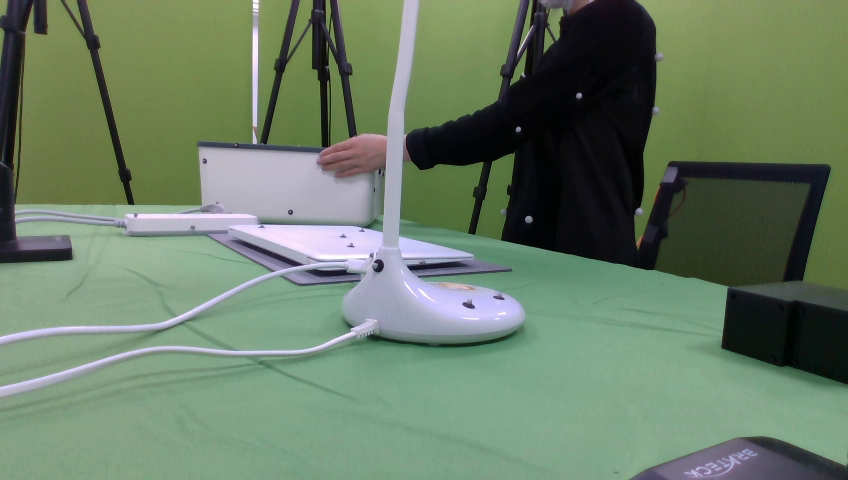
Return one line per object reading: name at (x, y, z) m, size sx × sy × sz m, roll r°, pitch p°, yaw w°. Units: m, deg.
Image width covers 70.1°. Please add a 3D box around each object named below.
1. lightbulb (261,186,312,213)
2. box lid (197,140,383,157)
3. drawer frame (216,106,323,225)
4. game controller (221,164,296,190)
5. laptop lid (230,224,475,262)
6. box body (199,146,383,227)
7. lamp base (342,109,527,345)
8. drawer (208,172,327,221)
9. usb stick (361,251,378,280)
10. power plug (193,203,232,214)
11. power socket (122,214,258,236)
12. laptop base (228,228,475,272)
lightbulb at (-0.294, -0.082, 1.293) m, size 0.108 × 0.059 × 0.059 m, roll -14°, pitch 13°, yaw -20°
box lid at (-0.275, -0.197, 1.326) m, size 0.372 × 0.015 × 0.263 m, roll 3°, pitch 7°, yaw 1°
drawer frame at (-0.311, -0.142, 1.311) m, size 0.082 × 0.213 × 0.202 m, roll 21°, pitch -19°, yaw 29°
game controller at (-0.363, -0.139, 1.317) m, size 0.156 × 0.051 × 0.096 m, roll -1°, pitch 10°, yaw -24°
laptop lid at (-0.119, 0.000, 0.889) m, size 0.243 × 0.013 × 0.355 m, roll 1°, pitch 7°, yaw -33°
box body at (-0.276, -0.124, 1.335) m, size 0.364 × 0.160 × 0.254 m, roll 3°, pitch 7°, yaw 1°
lamp base at (0.006, -0.015, 0.505) m, size 0.160 × 0.180 × 0.180 m, roll 6°, pitch 11°, yaw 29°
drawer at (-0.334, -0.101, 1.326) m, size 0.212 × 0.073 × 0.194 m, roll 8°, pitch 11°, yaw -1°
usb stick at (-0.051, 0.033, 0.656) m, size 0.027 × 0.021 × 0.059 m, roll 5°, pitch -27°, yaw -21°
power plug at (-0.394, -0.043, 1.139) m, size 0.072 × 0.052 × 0.035 m, roll -13°, pitch 2°, yaw 31°
power socket at (-0.398, -0.028, 1.049) m, size 0.228 × 0.032 × 0.072 m, roll -3°, pitch 8°, yaw -34°
laptop base at (-0.122, 0.011, 0.889) m, size 0.237 × 0.023 × 0.352 m, roll 2°, pitch 6°, yaw -35°
